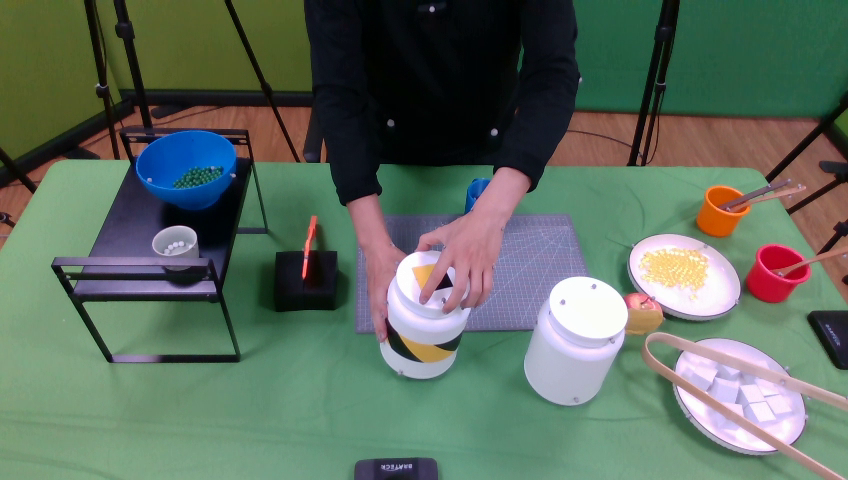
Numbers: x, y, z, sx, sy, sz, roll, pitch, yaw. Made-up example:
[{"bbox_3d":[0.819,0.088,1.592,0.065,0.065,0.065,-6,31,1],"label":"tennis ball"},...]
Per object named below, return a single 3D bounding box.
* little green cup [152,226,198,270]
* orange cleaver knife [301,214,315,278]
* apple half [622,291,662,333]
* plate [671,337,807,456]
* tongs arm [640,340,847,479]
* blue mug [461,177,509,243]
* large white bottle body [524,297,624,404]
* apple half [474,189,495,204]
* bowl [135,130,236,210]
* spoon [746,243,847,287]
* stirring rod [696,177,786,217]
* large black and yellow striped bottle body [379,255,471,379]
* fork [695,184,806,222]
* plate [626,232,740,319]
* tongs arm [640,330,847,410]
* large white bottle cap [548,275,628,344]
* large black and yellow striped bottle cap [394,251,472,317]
[{"bbox_3d":[-0.364,0.013,0.894,0.061,0.039,0.061,3,46,-3],"label":"little green cup"},{"bbox_3d":[-0.217,0.007,1.131,0.012,0.077,0.210,7,19,-9],"label":"orange cleaver knife"},{"bbox_3d":[0.372,0.123,1.074,0.081,0.075,0.053,0,43,1],"label":"apple half"},{"bbox_3d":[0.504,0.253,0.984,0.208,0.039,0.206,2,46,-2],"label":"plate"},{"bbox_3d":[0.500,0.277,0.919,0.386,0.028,0.028,34,59,22],"label":"tongs arm"},{"bbox_3d":[0.114,-0.070,1.210,0.082,0.106,0.115,-12,48,-15],"label":"blue mug"},{"bbox_3d":[0.235,0.159,0.952,0.131,0.185,0.130,2,47,-2],"label":"large white bottle body"},{"bbox_3d":[0.110,-0.067,1.200,0.032,0.081,0.081,27,50,11],"label":"apple half"},{"bbox_3d":[-0.375,-0.102,0.978,0.151,0.077,0.150,3,46,-2],"label":"bowl"},{"bbox_3d":[0.702,0.044,1.126,0.194,0.022,0.041,-29,38,30],"label":"spoon"},{"bbox_3d":[0.648,-0.087,1.244,0.176,0.006,0.014,-25,50,29],"label":"stirring rod"},{"bbox_3d":[0.002,0.120,0.959,0.131,0.185,0.130,6,46,-6],"label":"large black and yellow striped bottle body"},{"bbox_3d":[0.658,-0.074,1.229,0.207,0.019,0.028,-24,33,36],"label":"fork"},{"bbox_3d":[0.489,0.071,1.156,0.209,0.038,0.208,3,46,-3],"label":"plate"},{"bbox_3d":[0.543,0.225,0.969,0.384,0.026,0.050,22,52,13],"label":"tongs arm"},{"bbox_3d":[0.240,0.100,0.890,0.115,0.018,0.114,3,47,-3],"label":"large white bottle cap"},{"bbox_3d":[0.014,0.063,0.899,0.115,0.019,0.114,6,45,-5],"label":"large black and yellow striped bottle cap"}]
